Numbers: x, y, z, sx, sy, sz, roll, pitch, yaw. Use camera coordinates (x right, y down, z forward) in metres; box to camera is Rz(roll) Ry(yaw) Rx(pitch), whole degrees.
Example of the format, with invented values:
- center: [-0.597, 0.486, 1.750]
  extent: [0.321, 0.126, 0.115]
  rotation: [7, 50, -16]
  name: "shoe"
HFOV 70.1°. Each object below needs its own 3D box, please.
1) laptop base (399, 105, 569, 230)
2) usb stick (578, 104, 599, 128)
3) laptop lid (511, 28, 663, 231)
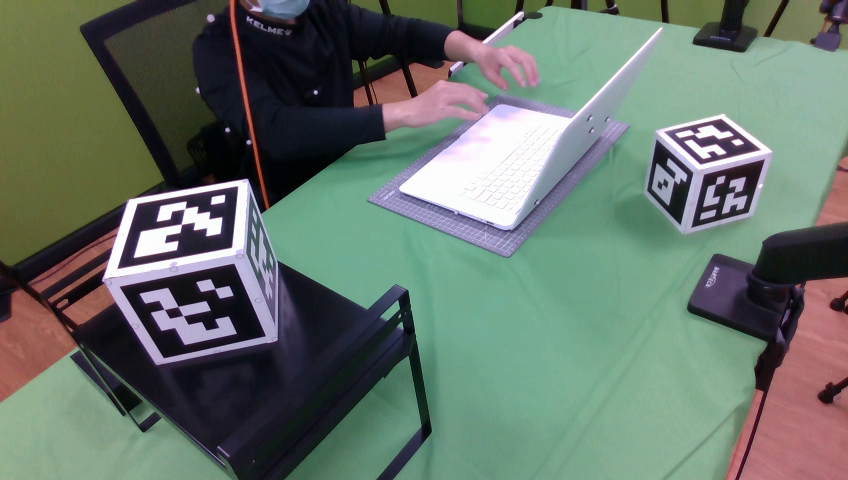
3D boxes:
- center: [0.149, -0.147, 1.123]
  extent: [0.233, 0.023, 0.355]
  rotation: [20, 47, 32]
  name: "laptop base"
- center: [0.322, -0.242, 1.189]
  extent: [0.021, 0.027, 0.059]
  rotation: [24, 53, 30]
  name: "usb stick"
- center: [0.265, -0.179, 0.972]
  extent: [0.013, 0.242, 0.357]
  rotation: [36, 53, 14]
  name: "laptop lid"
